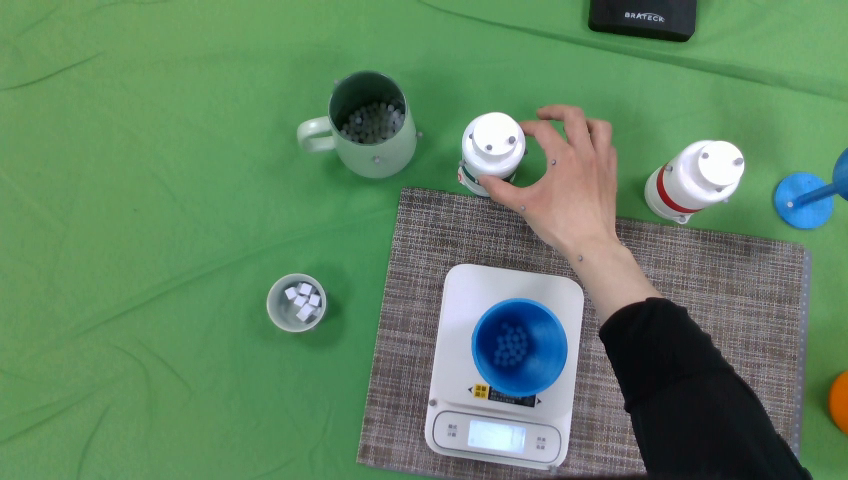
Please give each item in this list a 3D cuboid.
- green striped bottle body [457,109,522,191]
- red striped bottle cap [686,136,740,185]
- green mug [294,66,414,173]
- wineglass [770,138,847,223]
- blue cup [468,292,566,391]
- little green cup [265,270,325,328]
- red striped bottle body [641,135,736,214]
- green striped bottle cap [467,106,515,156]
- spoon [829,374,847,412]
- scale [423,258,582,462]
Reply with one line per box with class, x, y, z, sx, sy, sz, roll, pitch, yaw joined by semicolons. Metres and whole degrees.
green striped bottle body;0.066;-0.094;0.624;0.063;0.119;0.063;0;80;2
red striped bottle cap;0.272;-0.075;0.568;0.044;0.018;0.044;0;78;0
green mug;-0.074;-0.121;0.638;0.125;0.105;0.092;-14;82;-1
wineglass;0.418;-0.064;0.593;0.074;0.173;0.073;0;81;1
blue cup;0.080;0.093;0.574;0.093;0.100;0.092;0;84;-1
little green cup;-0.134;0.063;0.644;0.061;0.039;0.061;0;82;-1
red striped bottle body;0.273;-0.067;0.622;0.063;0.120;0.063;0;82;1
green striped bottle cap;0.063;-0.104;0.573;0.044;0.020;0.044;0;79;1
spoon;0.492;0.178;0.571;0.022;0.192;0.041;23;89;-40
scale;0.083;0.124;0.635;0.148;0.031;0.200;8;82;2
